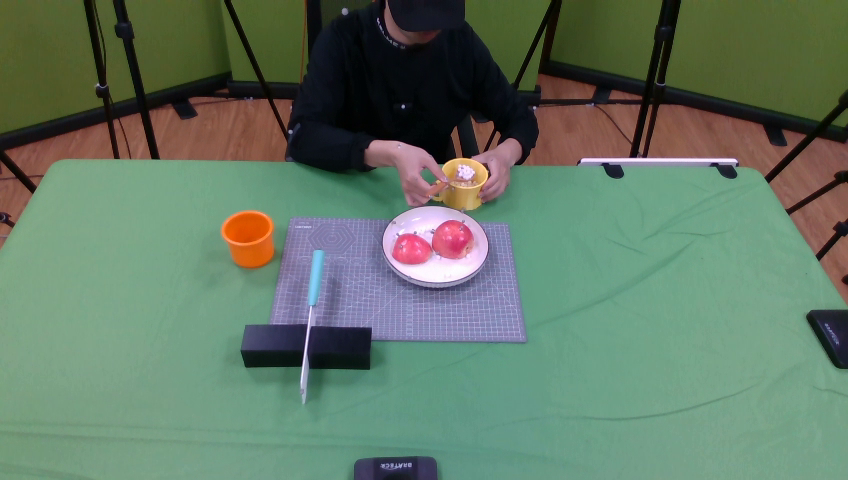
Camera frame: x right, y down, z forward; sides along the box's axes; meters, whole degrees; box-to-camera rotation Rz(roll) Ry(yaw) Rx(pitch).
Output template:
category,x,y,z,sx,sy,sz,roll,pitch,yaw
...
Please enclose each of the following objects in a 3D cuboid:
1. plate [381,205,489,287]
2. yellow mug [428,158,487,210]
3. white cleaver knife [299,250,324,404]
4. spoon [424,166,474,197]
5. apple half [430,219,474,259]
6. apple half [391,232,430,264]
category,x,y,z,sx,sy,sz,roll,pitch,yaw
plate,0.021,0.015,1.170,0.209,0.038,0.208,2,46,-2
yellow mug,0.067,-0.116,1.284,0.131,0.064,0.099,-17,49,-18
white cleaver knife,-0.194,0.134,1.019,0.021,0.066,0.284,5,50,-5
spoon,0.049,-0.118,1.218,0.041,0.022,0.194,29,29,19
apple half,0.056,-0.008,1.172,0.081,0.053,0.074,-33,59,-31
apple half,-0.024,0.009,1.163,0.081,0.033,0.081,2,43,-2
